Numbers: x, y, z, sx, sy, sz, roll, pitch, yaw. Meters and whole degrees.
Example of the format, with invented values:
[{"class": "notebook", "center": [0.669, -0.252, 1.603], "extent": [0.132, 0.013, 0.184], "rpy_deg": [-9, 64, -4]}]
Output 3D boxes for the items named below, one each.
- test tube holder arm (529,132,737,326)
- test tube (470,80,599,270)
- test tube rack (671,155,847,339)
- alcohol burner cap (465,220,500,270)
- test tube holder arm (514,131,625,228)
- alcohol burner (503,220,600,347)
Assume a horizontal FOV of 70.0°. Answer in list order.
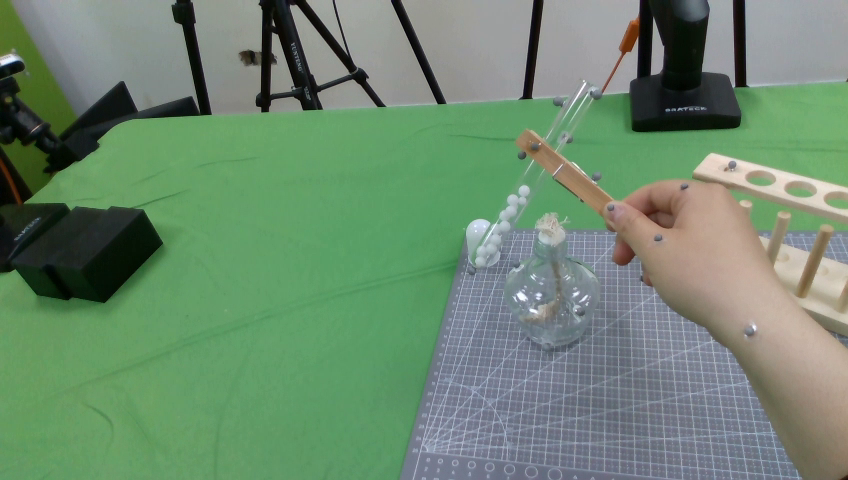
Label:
[{"class": "test tube holder arm", "center": [0.131, -0.012, 0.400], "extent": [0.177, 0.015, 0.013], "rpy_deg": [45, 24, 17]}, {"class": "test tube", "center": [0.074, -0.041, 0.422], "extent": [0.017, 0.150, 0.017], "rpy_deg": [27, 18, -9]}, {"class": "test tube rack", "center": [0.318, 0.017, 0.464], "extent": [0.240, 0.086, 0.066], "rpy_deg": [26, 53, 37]}, {"class": "alcohol burner cap", "center": [0.055, 0.002, 0.585], "extent": [0.034, 0.048, 0.033], "rpy_deg": [-6, 41, 6]}, {"class": "test tube holder arm", "center": [0.097, -0.041, 0.407], "extent": [0.087, 0.015, 0.010], "rpy_deg": [42, 23, 11]}, {"class": "alcohol burner", "center": [0.101, 0.030, 0.483], "extent": [0.078, 0.120, 0.077], "rpy_deg": [-6, 41, 6]}]
